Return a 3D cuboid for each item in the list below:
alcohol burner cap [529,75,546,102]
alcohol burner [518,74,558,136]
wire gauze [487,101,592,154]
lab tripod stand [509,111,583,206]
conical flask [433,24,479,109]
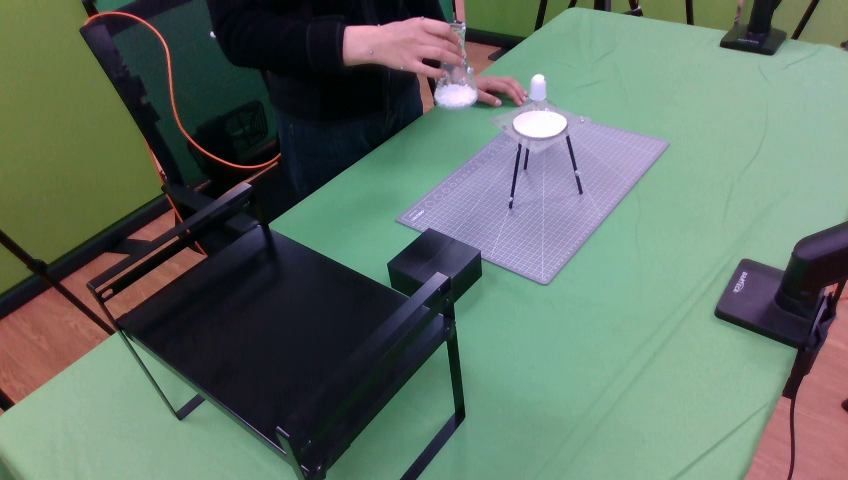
[{"bbox_3d":[0.217,-0.292,1.156,0.034,0.048,0.033,-3,46,4],"label":"alcohol burner cap"},{"bbox_3d":[0.222,-0.265,1.179,0.078,0.119,0.077,-5,39,5],"label":"alcohol burner"},{"bbox_3d":[0.185,-0.188,0.974,0.122,0.011,0.124,-27,44,-23],"label":"wire gauze"},{"bbox_3d":[0.198,-0.139,1.020,0.148,0.132,0.147,-3,39,3],"label":"lab tripod stand"},{"bbox_3d":[0.048,-0.277,0.962,0.075,0.122,0.075,-3,41,3],"label":"conical flask"}]
